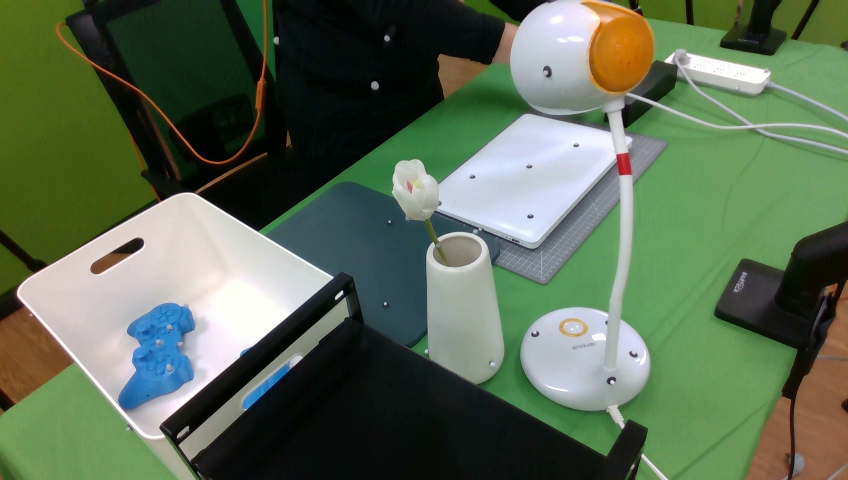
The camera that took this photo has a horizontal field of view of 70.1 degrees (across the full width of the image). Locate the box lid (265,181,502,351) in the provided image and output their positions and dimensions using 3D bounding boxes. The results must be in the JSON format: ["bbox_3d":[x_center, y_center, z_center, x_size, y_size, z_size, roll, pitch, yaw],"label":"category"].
[{"bbox_3d":[-0.087,0.022,0.971,0.368,0.015,0.264,23,49,31],"label":"box lid"}]

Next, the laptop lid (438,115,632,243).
[{"bbox_3d":[0.189,-0.126,1.081,0.239,0.013,0.358,23,49,35],"label":"laptop lid"}]

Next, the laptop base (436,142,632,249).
[{"bbox_3d":[0.192,-0.116,1.087,0.233,0.023,0.355,21,47,34],"label":"laptop base"}]

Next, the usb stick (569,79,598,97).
[{"bbox_3d":[0.312,-0.302,1.198,0.058,0.022,0.027,23,85,34],"label":"usb stick"}]

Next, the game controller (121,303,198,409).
[{"bbox_3d":[-0.364,0.149,0.828,0.097,0.052,0.154,-13,41,-9],"label":"game controller"}]

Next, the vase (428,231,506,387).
[{"bbox_3d":[0.050,0.087,0.728,0.098,0.201,0.097,-3,40,3],"label":"vase"}]

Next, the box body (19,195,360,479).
[{"bbox_3d":[-0.288,0.118,0.772,0.361,0.161,0.255,26,50,33],"label":"box body"}]

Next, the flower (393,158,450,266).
[{"bbox_3d":[0.028,0.036,0.664,0.043,0.364,0.038,36,73,30],"label":"flower"}]

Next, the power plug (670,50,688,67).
[{"bbox_3d":[0.539,-0.380,1.303,0.073,0.053,0.035,-31,46,-23],"label":"power plug"}]

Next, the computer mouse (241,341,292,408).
[{"bbox_3d":[-0.201,0.177,0.776,0.063,0.041,0.116,-11,44,-8],"label":"computer mouse"}]

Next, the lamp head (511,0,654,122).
[{"bbox_3d":[0.155,-0.168,0.564,0.113,0.113,0.122,-18,23,-12],"label":"lamp head"}]

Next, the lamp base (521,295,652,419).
[{"bbox_3d":[0.200,0.095,0.710,0.161,0.181,0.178,-16,43,-10],"label":"lamp base"}]

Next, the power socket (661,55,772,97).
[{"bbox_3d":[0.618,-0.353,1.290,0.225,0.033,0.072,27,51,33],"label":"power socket"}]
